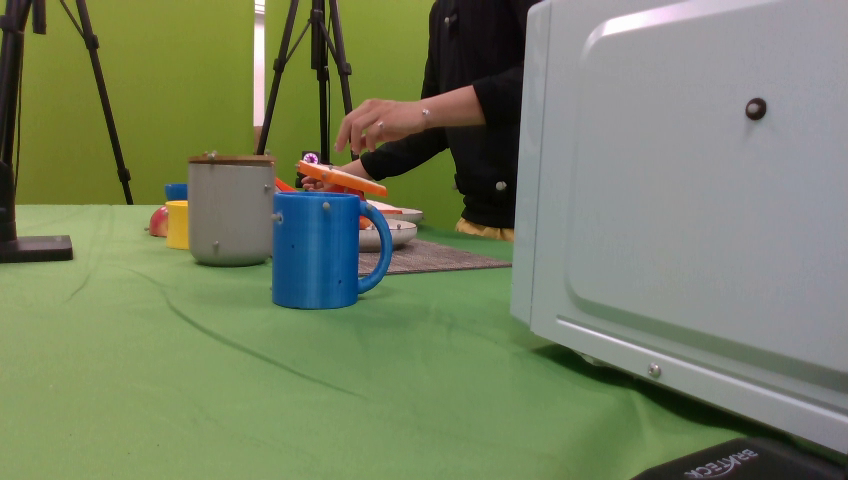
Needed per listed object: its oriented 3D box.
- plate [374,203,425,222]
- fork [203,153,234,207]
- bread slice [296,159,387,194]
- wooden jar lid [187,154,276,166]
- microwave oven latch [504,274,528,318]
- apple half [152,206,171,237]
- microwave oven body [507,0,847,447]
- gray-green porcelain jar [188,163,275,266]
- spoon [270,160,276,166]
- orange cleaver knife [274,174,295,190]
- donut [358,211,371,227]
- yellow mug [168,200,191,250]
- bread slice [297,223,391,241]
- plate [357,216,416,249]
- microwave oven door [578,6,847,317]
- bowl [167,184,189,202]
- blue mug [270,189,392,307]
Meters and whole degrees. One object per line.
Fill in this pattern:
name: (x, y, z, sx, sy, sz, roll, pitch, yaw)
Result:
plate: (-0.102, -0.053, 1.299, 0.209, 0.038, 0.209, 2, 8, 0)
fork: (-0.480, -0.134, 1.411, 0.028, 0.018, 0.207, 1, -35, 0)
bread slice: (-0.133, -0.102, 0.952, 0.132, 0.019, 0.104, 12, 8, -32)
wooden jar lid: (-0.244, -0.097, 0.771, 0.108, 0.020, 0.108, -1, 7, 0)
microwave oven latch: (0.100, 0.041, 0.471, 0.079, 0.029, 0.030, -1, 8, -28)
apple half: (-0.415, -0.034, 1.017, 0.081, 0.053, 0.074, 1, 10, -9)
microwave oven body: (0.331, -0.042, 0.425, 0.444, 0.260, 0.324, -2, 8, -31)
gray-green porcelain jar: (-0.246, -0.034, 0.780, 0.106, 0.126, 0.106, 1, 7, 0)
spoon: (-0.396, -0.150, 1.548, 0.042, 0.193, 0.021, 3, -37, -4)
orange cleaver knife: (-0.283, -0.087, 1.343, 0.212, 0.077, 0.012, 24, -16, -41)
donut: (-0.129, -0.041, 0.956, 0.099, 0.048, 0.099, 2, 7, 0)
yellow mug: (-0.320, -0.023, 0.904, 0.130, 0.064, 0.100, 8, 10, 36)
bread slice: (-0.121, -0.015, 0.970, 0.106, 0.018, 0.135, 10, 9, 40)
plate: (-0.116, -0.014, 0.967, 0.208, 0.039, 0.207, 2, 7, 0)
microwave oven door: (0.294, -0.067, 0.570, 0.358, 0.243, 0.039, -3, 9, -31)
bowl: (-0.408, -0.064, 1.154, 0.151, 0.077, 0.151, 2, 8, 0)
blue mug: (-0.090, 0.005, 0.588, 0.117, 0.106, 0.082, 1, 7, -11)
